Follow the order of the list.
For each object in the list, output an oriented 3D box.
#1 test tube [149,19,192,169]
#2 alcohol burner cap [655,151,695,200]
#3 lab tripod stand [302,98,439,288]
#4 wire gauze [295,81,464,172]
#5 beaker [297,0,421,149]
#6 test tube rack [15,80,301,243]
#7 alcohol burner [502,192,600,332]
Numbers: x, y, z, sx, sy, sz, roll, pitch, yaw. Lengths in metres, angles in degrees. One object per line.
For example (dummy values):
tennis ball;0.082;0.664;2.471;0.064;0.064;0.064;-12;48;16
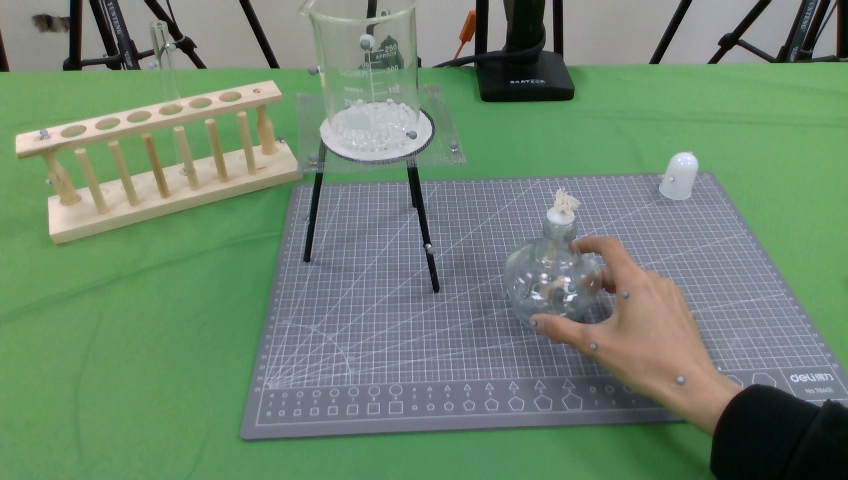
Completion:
test tube;-0.245;-0.136;0.590;0.017;0.151;0.017;3;36;-2
alcohol burner cap;0.257;-0.068;0.616;0.034;0.048;0.033;0;42;0
lab tripod stand;-0.039;-0.040;0.517;0.148;0.133;0.147;0;44;1
wire gauze;-0.040;-0.089;0.473;0.125;0.011;0.120;-8;40;-4
beaker;-0.043;-0.123;0.438;0.084;0.101;0.073;0;41;2
test tube rack;-0.255;-0.083;0.605;0.243;0.086;0.066;-18;45;-19
alcohol burner;0.100;0.014;0.470;0.078;0.120;0.077;-1;40;1
